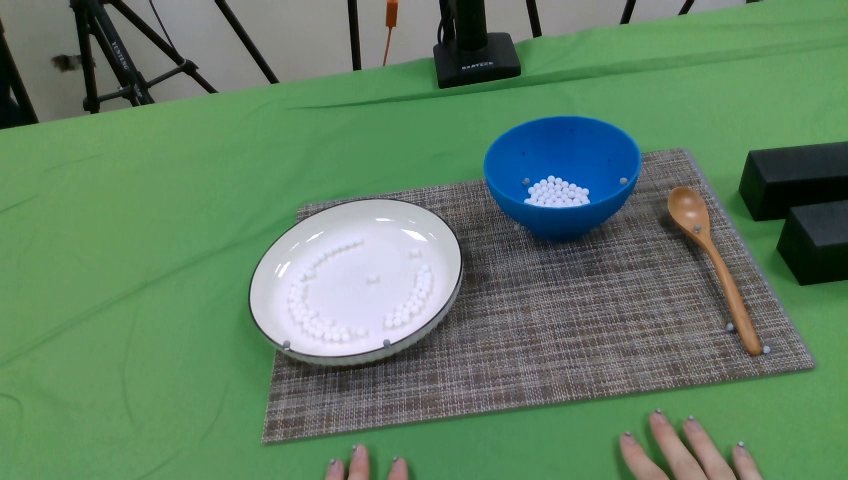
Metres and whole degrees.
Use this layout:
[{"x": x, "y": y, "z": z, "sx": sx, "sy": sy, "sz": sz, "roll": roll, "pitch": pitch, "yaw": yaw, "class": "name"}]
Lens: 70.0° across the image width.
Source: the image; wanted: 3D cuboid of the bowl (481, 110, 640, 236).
[{"x": 0.136, "y": -0.058, "z": 0.614, "sx": 0.151, "sy": 0.077, "sz": 0.150, "roll": -6, "pitch": 44, "yaw": 6, "class": "bowl"}]

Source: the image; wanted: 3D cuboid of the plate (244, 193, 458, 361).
[{"x": -0.068, "y": 0.035, "z": 0.592, "sx": 0.207, "sy": 0.039, "sz": 0.205, "roll": -6, "pitch": 44, "yaw": 6, "class": "plate"}]

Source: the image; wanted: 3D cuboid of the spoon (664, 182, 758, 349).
[{"x": 0.262, "y": 0.016, "z": 0.553, "sx": 0.042, "sy": 0.022, "sz": 0.191, "roll": 6, "pitch": 44, "yaw": -8, "class": "spoon"}]
